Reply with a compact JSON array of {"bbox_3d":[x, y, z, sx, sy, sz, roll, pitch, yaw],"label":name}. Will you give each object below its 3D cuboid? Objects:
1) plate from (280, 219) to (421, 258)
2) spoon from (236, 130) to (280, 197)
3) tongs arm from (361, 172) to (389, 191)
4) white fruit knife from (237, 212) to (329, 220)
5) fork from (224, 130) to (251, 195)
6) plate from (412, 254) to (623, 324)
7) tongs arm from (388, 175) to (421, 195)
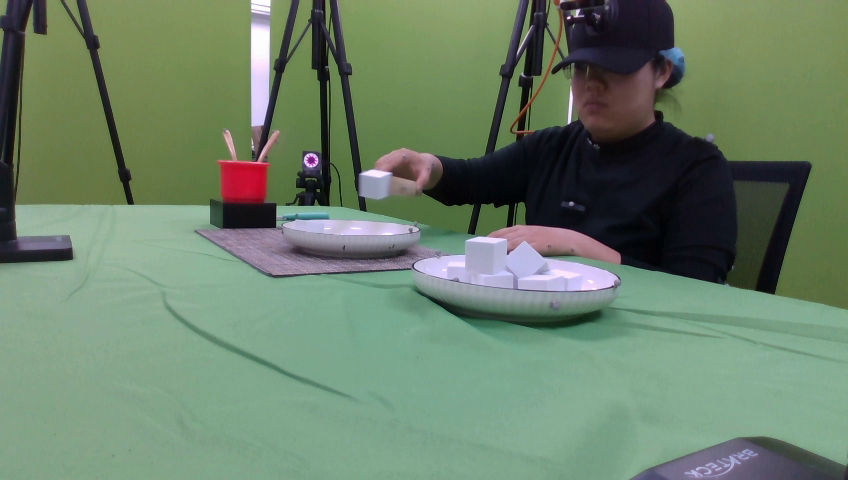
[{"bbox_3d":[-0.108,-0.002,0.902,0.208,0.039,0.207,3,7,0],"label":"plate"},{"bbox_3d":[-0.321,-0.154,1.192,0.041,0.193,0.022,0,-37,19],"label":"spoon"},{"bbox_3d":[-0.056,-0.093,1.015,0.051,0.026,0.384,7,5,1],"label":"tongs arm"},{"bbox_3d":[-0.304,-0.050,1.328,0.208,0.016,0.027,-3,-19,-29],"label":"white fruit knife"},{"bbox_3d":[-0.372,-0.155,1.193,0.028,0.018,0.206,-17,54,-13],"label":"fork"},{"bbox_3d":[0.090,0.047,0.609,0.209,0.038,0.209,2,7,0],"label":"plate"},{"bbox_3d":[-0.031,-0.089,1.014,0.028,0.028,0.388,3,4,5],"label":"tongs arm"}]
